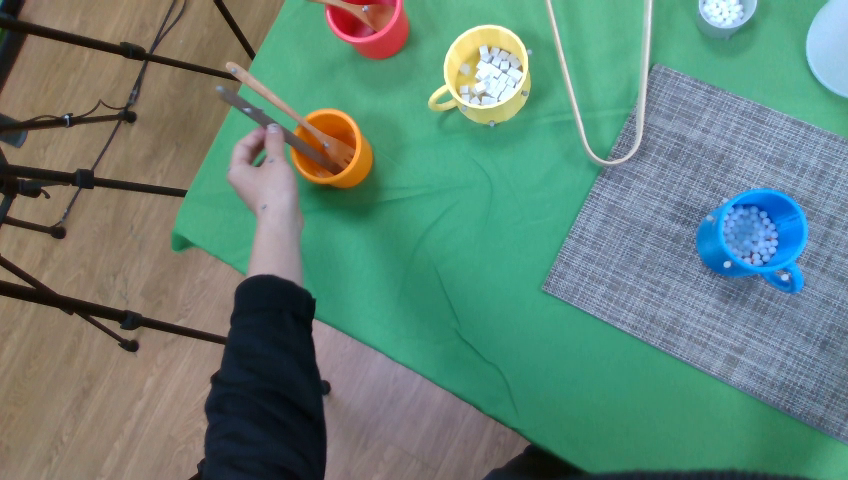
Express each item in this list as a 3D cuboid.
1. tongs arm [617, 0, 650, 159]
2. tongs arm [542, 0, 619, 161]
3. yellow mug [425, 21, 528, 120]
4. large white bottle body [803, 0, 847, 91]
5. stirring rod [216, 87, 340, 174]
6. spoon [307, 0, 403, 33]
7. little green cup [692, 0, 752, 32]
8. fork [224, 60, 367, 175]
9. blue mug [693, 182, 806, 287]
[{"bbox_3d":[0.246,-0.289,0.702,0.028,0.028,0.387,2,93,4],"label":"tongs arm"},{"bbox_3d":[0.164,-0.278,0.716,0.051,0.026,0.384,-12,90,8],"label":"tongs arm"},{"bbox_3d":[0.060,-0.197,0.737,0.131,0.064,0.099,-26,81,10],"label":"yellow mug"},{"bbox_3d":[0.473,-0.234,0.591,0.130,0.185,0.130,-1,85,12],"label":"large white bottle body"},{"bbox_3d":[-0.168,-0.126,0.717,0.005,0.178,0.014,13,75,50],"label":"stirring rod"},{"bbox_3d":[-0.115,-0.291,0.742,0.195,0.021,0.041,4,83,-32],"label":"spoon"},{"bbox_3d":[0.340,-0.272,0.697,0.061,0.039,0.061,-1,86,12],"label":"little green cup"},{"bbox_3d":[-0.152,-0.146,0.735,0.209,0.018,0.028,37,93,-31],"label":"fork"},{"bbox_3d":[0.348,0.002,0.636,0.082,0.106,0.116,-38,79,7],"label":"blue mug"}]
